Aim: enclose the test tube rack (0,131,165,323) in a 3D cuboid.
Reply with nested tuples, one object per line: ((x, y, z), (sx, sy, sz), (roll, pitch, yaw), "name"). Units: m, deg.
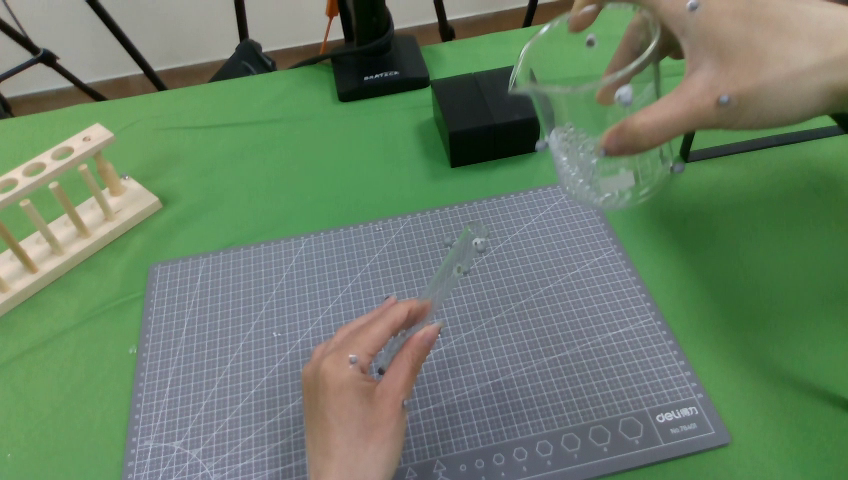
((-0.389, -0.001, 0.589), (0.066, 0.086, 0.242), (31, 57, 29), "test tube rack")

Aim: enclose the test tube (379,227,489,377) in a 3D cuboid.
((0.002, 0.048, 0.416), (0.017, 0.151, 0.017), (20, 37, -15), "test tube")

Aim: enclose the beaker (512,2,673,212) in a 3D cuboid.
((0.103, -0.071, 0.354), (0.084, 0.101, 0.073), (-21, 44, 9), "beaker")
